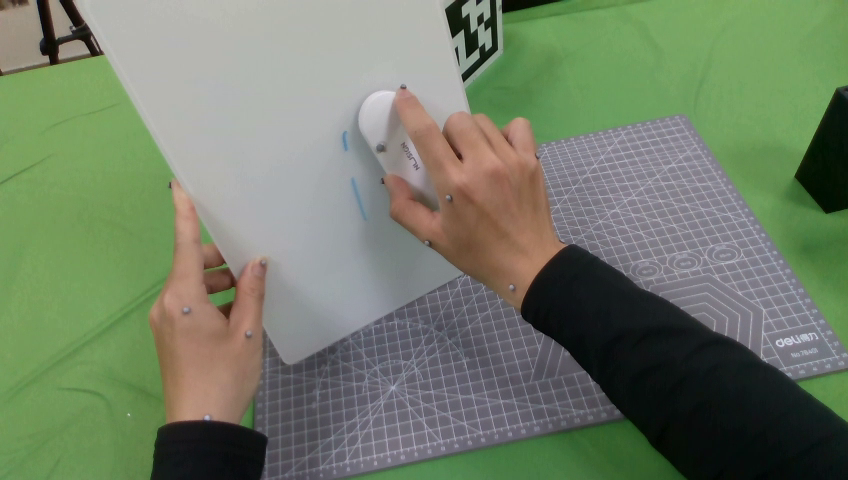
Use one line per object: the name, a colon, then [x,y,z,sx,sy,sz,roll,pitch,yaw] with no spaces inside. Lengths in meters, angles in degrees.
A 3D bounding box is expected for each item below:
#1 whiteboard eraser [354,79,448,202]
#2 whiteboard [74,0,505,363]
whiteboard eraser: [-0.016,-0.072,0.448,0.041,0.102,0.018,-36,33,-6]
whiteboard: [-0.089,-0.096,0.494,0.217,0.308,0.142,-27,34,-12]
